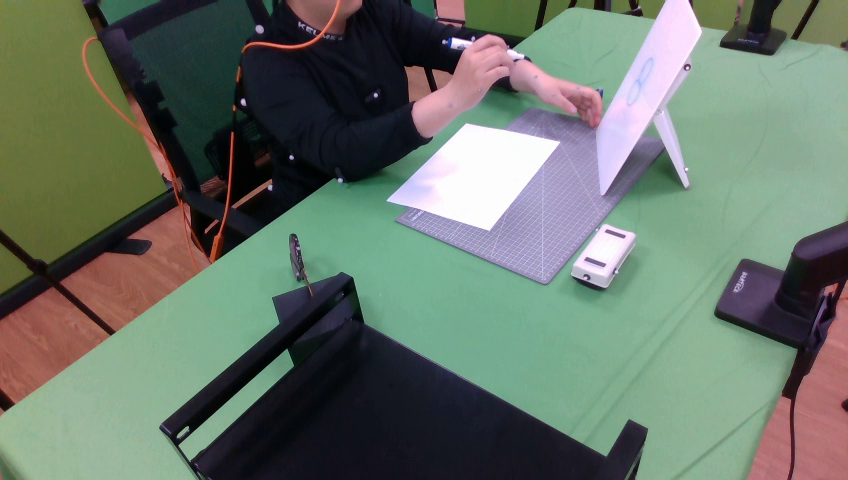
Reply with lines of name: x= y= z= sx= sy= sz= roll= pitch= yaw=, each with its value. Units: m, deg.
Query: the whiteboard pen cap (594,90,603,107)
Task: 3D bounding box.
whiteboard pen cap: x=0.364 y=-0.294 z=1.261 sx=0.018 sy=0.033 sz=0.018 roll=-6 pitch=41 yaw=6

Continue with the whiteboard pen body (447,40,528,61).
whiteboard pen body: x=0.107 y=-0.316 z=1.016 sx=0.141 sy=0.017 sz=0.017 roll=8 pitch=39 yaw=-10

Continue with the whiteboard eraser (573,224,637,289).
whiteboard eraser: x=0.267 y=0.025 z=0.890 sx=0.055 sy=0.042 sz=0.113 roll=19 pitch=47 yaw=31

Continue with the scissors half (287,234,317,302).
scissors half: x=-0.179 y=0.040 z=0.884 sx=0.013 sy=0.040 sz=0.173 roll=-11 pitch=36 yaw=-20

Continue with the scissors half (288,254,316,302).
scissors half: x=-0.178 y=0.058 z=0.894 sx=0.013 sy=0.040 sz=0.174 roll=-16 pitch=20 yaw=-17

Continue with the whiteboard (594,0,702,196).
whiteboard: x=0.420 y=-0.227 z=1.010 sx=0.144 sy=0.305 sz=0.216 roll=18 pitch=42 yaw=-2
